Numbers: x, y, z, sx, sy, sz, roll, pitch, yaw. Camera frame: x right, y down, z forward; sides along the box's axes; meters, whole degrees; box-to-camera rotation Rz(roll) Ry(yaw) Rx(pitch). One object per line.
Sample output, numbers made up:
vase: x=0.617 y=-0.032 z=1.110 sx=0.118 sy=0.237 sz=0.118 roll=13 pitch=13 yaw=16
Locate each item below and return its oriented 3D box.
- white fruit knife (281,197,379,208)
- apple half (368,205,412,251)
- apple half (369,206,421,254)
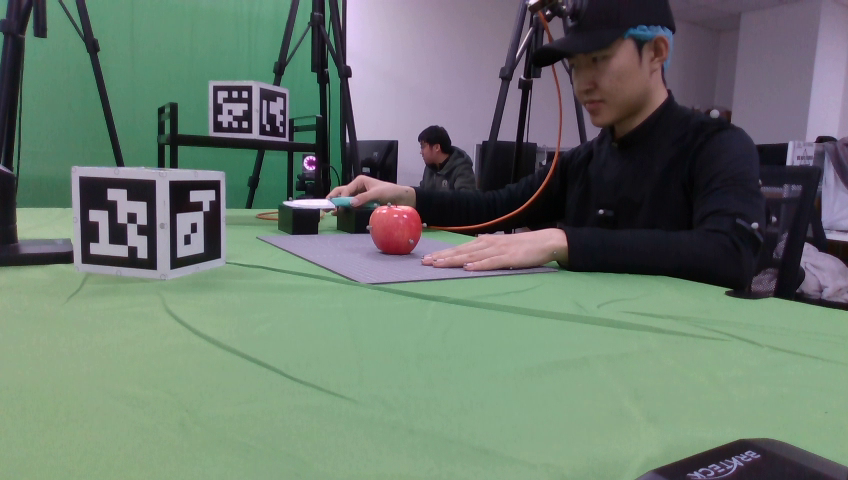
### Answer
white fruit knife: x=-0.180 y=-0.073 z=1.181 sx=0.208 sy=0.027 sz=0.016 roll=-2 pitch=-33 yaw=-37
apple half: x=-0.059 y=-0.020 z=0.951 sx=0.082 sy=0.081 sz=0.032 roll=-2 pitch=13 yaw=-32
apple half: x=-0.039 y=-0.014 z=0.919 sx=0.081 sy=0.074 sz=0.053 roll=3 pitch=10 yaw=-32
